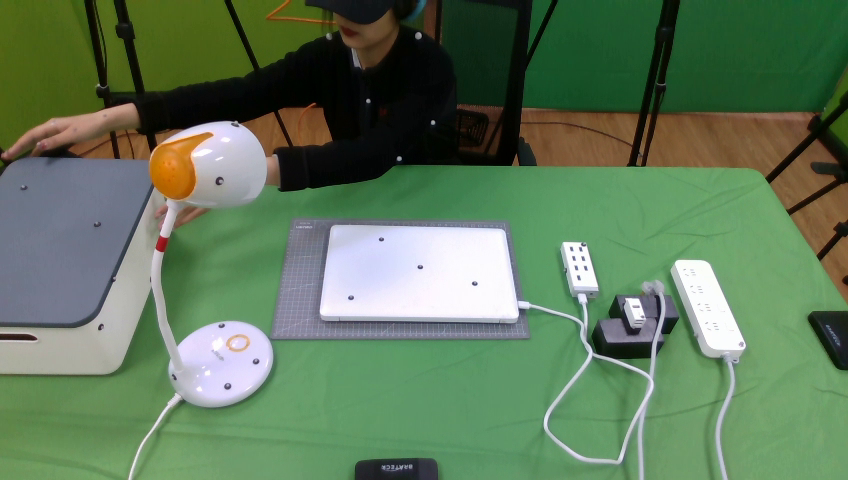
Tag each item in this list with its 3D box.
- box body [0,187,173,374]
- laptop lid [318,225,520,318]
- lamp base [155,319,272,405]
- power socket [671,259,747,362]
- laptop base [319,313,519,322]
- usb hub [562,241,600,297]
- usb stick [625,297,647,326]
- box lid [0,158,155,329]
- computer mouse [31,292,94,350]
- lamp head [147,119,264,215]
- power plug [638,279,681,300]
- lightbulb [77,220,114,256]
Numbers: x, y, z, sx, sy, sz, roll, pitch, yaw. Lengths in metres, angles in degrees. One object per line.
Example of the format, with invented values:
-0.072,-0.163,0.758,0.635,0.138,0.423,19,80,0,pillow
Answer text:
-0.601,0.039,1.019,0.254,0.161,0.361,1,46,-3,box body
-0.009,0.052,1.131,0.357,0.013,0.240,2,43,-2,laptop lid
-0.330,0.149,0.918,0.160,0.181,0.179,26,52,20,lamp base
0.517,0.119,1.108,0.072,0.033,0.225,1,46,-2,power socket
-0.009,0.062,1.137,0.354,0.023,0.234,1,42,-3,laptop base
0.300,0.055,1.162,0.049,0.025,0.124,2,46,-3,usb hub
0.360,0.116,1.034,0.021,0.027,0.059,-2,44,-2,usb stick
-0.598,-0.011,0.964,0.263,0.015,0.369,1,45,-3,box lid
-0.603,0.130,1.009,0.063,0.041,0.116,-1,42,-1,computer mouse
-0.276,-0.087,0.740,0.112,0.112,0.123,20,23,15,lamp head
0.434,0.099,1.118,0.073,0.053,0.035,34,37,-14,power plug
-0.614,-0.009,1.139,0.059,0.060,0.107,-14,28,-16,lightbulb
